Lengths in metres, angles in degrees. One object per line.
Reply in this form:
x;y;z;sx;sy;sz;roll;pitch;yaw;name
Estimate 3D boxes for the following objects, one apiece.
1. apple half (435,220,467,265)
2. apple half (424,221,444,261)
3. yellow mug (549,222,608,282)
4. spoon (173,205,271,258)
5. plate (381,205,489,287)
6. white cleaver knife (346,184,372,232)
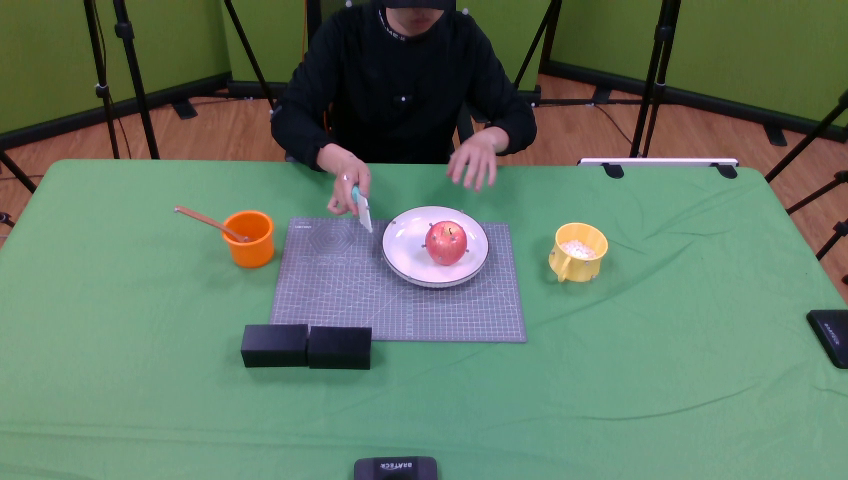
0.054;0.009;1.142;0.053;0.075;0.080;14;44;3;apple half
0.016;0.002;1.145;0.033;0.081;0.081;13;46;2;apple half
0.287;0.031;1.159;0.099;0.064;0.130;27;51;21;yellow mug
-0.362;-0.017;1.098;0.021;0.195;0.041;-32;42;27;spoon
0.021;0.015;1.170;0.209;0.038;0.208;2;46;-2;plate
-0.119;-0.061;1.093;0.021;0.066;0.285;-7;11;-10;white cleaver knife
